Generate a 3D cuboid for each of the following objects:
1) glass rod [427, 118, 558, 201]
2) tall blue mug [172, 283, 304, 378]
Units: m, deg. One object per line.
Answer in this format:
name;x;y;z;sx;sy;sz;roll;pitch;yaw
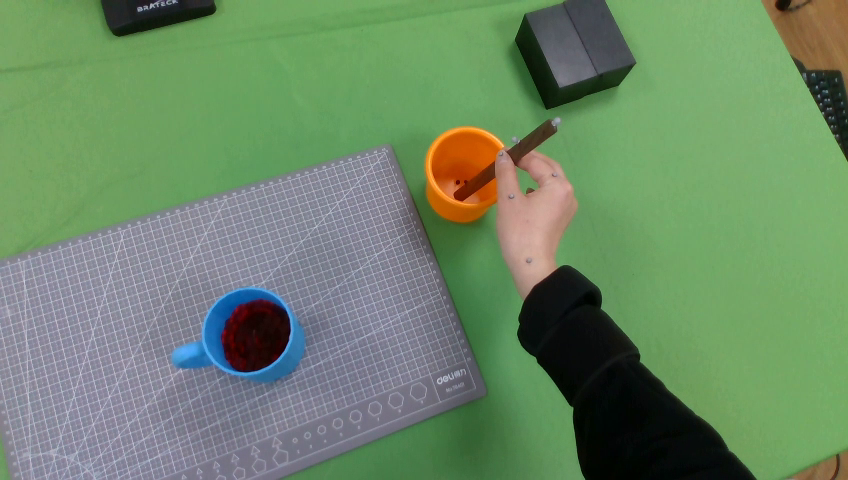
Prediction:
glass rod;0.059;-0.074;0.592;0.008;0.199;0.008;12;67;-30
tall blue mug;-0.166;0.097;0.563;0.107;0.108;0.077;-43;83;-15
